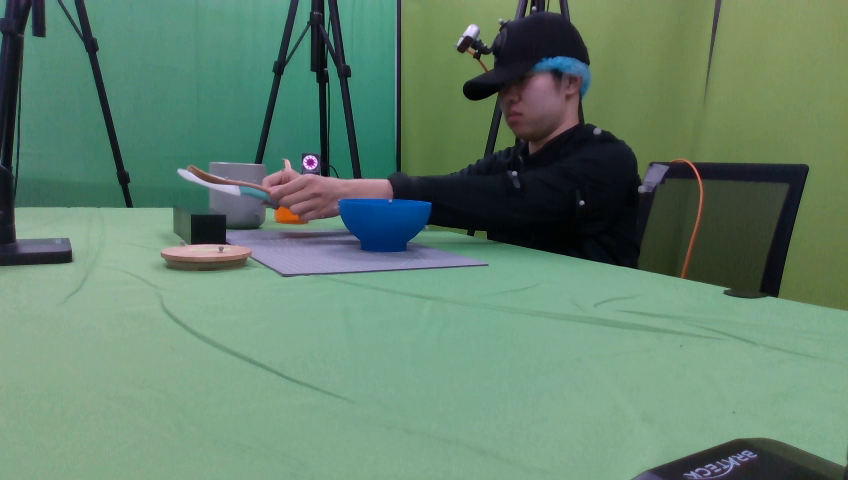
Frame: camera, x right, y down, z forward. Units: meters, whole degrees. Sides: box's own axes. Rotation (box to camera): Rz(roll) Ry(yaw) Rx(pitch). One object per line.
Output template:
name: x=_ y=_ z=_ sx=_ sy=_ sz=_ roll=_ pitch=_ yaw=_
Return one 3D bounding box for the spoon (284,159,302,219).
spoon: x=-0.302 y=-0.118 z=1.370 sx=0.042 sy=0.193 sz=0.021 roll=4 pitch=-39 yaw=-24

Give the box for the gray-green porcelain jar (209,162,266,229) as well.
gray-green porcelain jar: x=-0.367 y=-0.088 z=1.194 sx=0.106 sy=0.126 sz=0.106 roll=2 pitch=7 yaw=0

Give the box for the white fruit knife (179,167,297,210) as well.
white fruit knife: x=-0.314 y=-0.091 z=1.038 sx=0.208 sy=0.027 sz=0.016 roll=16 pitch=-11 yaw=-32

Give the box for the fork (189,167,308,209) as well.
fork: x=-0.287 y=-0.085 z=1.007 sx=0.208 sy=0.018 sz=0.028 roll=14 pitch=-11 yaw=-35

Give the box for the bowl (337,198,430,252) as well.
bowl: x=-0.066 y=-0.024 z=0.966 sx=0.151 sy=0.077 sz=0.151 roll=2 pitch=7 yaw=0

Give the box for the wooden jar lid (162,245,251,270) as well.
wooden jar lid: x=-0.278 y=0.022 z=0.777 sx=0.108 sy=0.020 sz=0.108 roll=2 pitch=6 yaw=0
